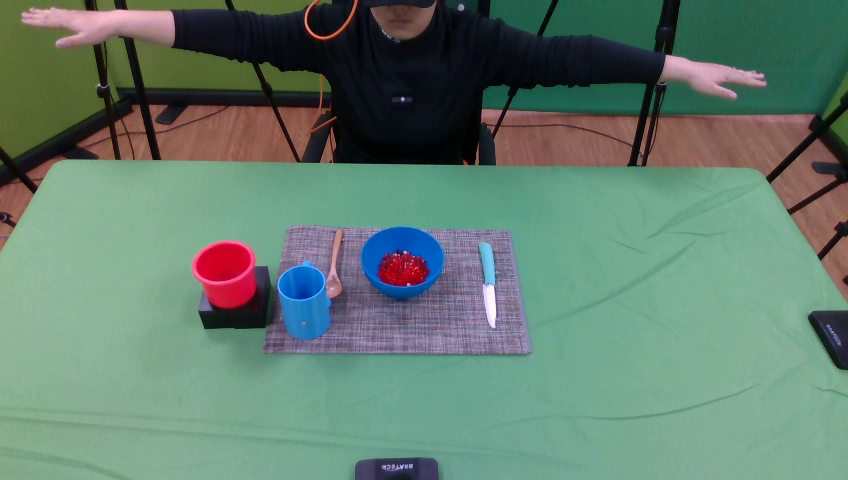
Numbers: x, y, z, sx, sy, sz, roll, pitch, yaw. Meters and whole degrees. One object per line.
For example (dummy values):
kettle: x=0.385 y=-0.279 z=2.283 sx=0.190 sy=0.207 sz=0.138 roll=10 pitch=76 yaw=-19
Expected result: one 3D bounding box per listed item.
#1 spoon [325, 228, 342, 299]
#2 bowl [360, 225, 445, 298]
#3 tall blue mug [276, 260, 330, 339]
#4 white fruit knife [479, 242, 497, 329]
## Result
spoon: x=-0.168 y=0.041 z=1.140 sx=0.041 sy=0.022 sz=0.192 roll=-10 pitch=46 yaw=11
bowl: x=-0.040 y=0.053 z=1.099 sx=0.151 sy=0.077 sz=0.150 roll=2 pitch=46 yaw=-2
tall blue mug: x=-0.208 y=0.094 z=1.025 sx=0.078 sy=0.108 sz=0.106 roll=-21 pitch=51 yaw=-21
white fruit knife: x=0.122 y=0.080 z=1.130 sx=0.027 sy=0.016 sz=0.206 roll=-19 pitch=45 yaw=19
